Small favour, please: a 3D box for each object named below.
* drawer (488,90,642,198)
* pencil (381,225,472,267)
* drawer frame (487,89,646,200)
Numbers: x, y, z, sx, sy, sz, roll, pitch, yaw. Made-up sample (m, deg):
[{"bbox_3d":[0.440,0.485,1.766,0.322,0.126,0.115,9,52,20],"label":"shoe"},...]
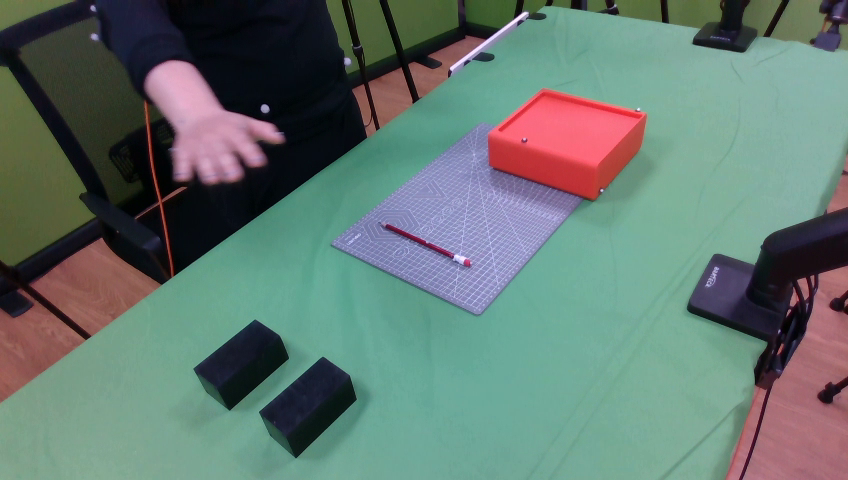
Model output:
[{"bbox_3d":[0.254,-0.179,1.095,0.210,0.073,0.195,24,48,30],"label":"drawer"},{"bbox_3d":[-0.001,0.005,0.970,0.192,0.012,0.012,23,49,35],"label":"pencil"},{"bbox_3d":[0.257,-0.180,1.094,0.212,0.083,0.202,23,48,30],"label":"drawer frame"}]
